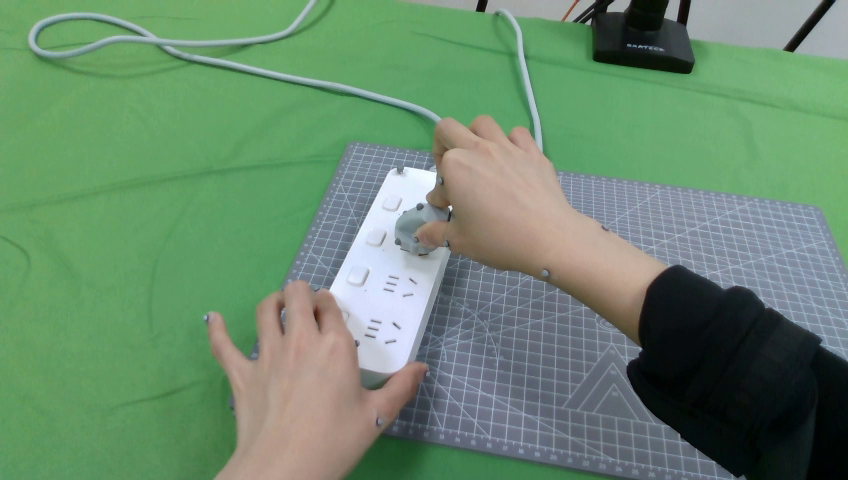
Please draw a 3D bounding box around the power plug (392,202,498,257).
[{"bbox_3d":[0.011,0.000,0.442,0.072,0.053,0.035,24,55,11],"label":"power plug"}]

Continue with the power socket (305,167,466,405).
[{"bbox_3d":[-0.021,0.020,0.462,0.072,0.033,0.225,14,45,8],"label":"power socket"}]
